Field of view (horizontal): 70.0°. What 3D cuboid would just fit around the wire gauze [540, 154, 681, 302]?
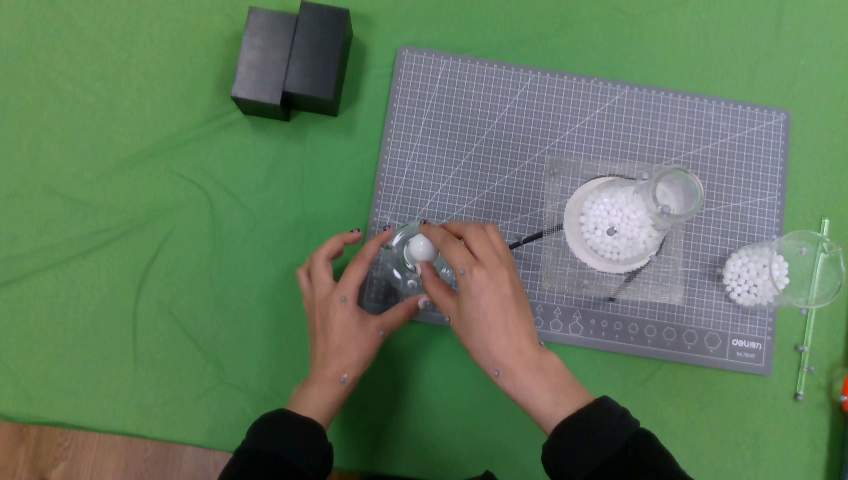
[{"bbox_3d":[0.162,-0.011,0.525,0.125,0.011,0.121,5,84,-4],"label":"wire gauze"}]

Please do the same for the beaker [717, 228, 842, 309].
[{"bbox_3d":[0.354,0.031,0.612,0.084,0.100,0.074,-28,84,-6],"label":"beaker"}]

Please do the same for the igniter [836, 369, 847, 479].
[{"bbox_3d":[0.471,0.134,0.643,0.057,0.025,0.275,13,82,-11],"label":"igniter"}]

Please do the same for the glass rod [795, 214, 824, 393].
[{"bbox_3d":[0.421,0.067,0.659,0.008,0.008,0.199,13,82,-1],"label":"glass rod"}]

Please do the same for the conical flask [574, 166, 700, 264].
[{"bbox_3d":[0.167,-0.024,0.467,0.075,0.122,0.075,0,82,-2],"label":"conical flask"}]

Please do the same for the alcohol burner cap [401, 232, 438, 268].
[{"bbox_3d":[-0.003,0.007,0.554,0.034,0.048,0.033,1,81,-8],"label":"alcohol burner cap"}]

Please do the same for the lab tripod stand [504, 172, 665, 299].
[{"bbox_3d":[0.160,-0.005,0.590,0.148,0.131,0.148,0,84,-1],"label":"lab tripod stand"}]

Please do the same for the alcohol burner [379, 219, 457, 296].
[{"bbox_3d":[-0.005,0.014,0.590,0.078,0.119,0.077,1,80,-3],"label":"alcohol burner"}]
